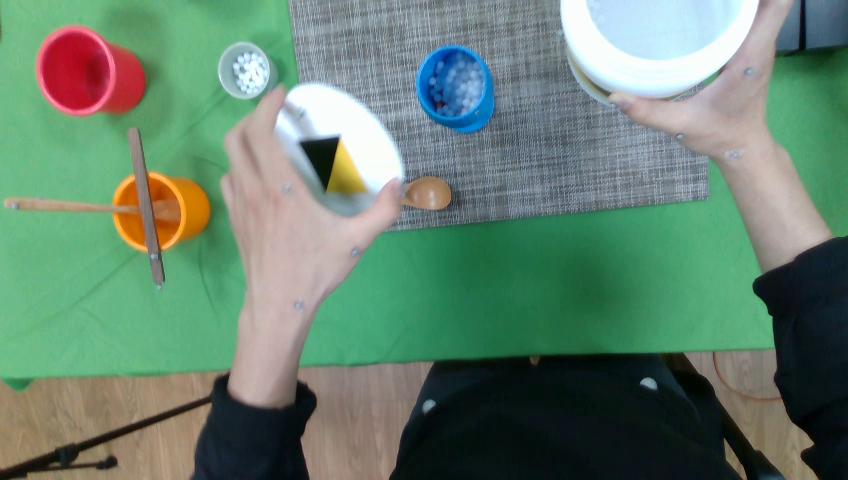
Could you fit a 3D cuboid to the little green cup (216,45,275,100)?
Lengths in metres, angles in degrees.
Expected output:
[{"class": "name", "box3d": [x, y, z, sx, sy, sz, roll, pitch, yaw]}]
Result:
[{"class": "little green cup", "box3d": [-0.206, -0.193, 0.708, 0.061, 0.038, 0.061, 1, 99, 8]}]

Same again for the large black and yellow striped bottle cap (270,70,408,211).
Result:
[{"class": "large black and yellow striped bottle cap", "box3d": [-0.065, -0.070, 0.451, 0.114, 0.018, 0.116, 24, 144, 19]}]

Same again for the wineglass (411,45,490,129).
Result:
[{"class": "wineglass", "box3d": [0.031, -0.148, 0.610, 0.073, 0.172, 0.074, 1, 98, 8]}]

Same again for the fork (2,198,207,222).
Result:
[{"class": "fork", "box3d": [-0.357, -0.036, 0.694, 0.209, 0.018, 0.028, 1, 107, -36]}]

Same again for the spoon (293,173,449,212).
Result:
[{"class": "spoon", "box3d": [-0.066, -0.050, 0.714, 0.193, 0.021, 0.042, -7, 117, 9]}]

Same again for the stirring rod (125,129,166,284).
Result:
[{"class": "stirring rod", "box3d": [-0.316, -0.037, 0.685, 0.014, 0.006, 0.176, -7, 98, 9]}]

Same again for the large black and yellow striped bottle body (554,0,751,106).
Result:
[{"class": "large black and yellow striped bottle body", "box3d": [0.167, -0.175, 0.461, 0.130, 0.184, 0.131, 2, 98, 14]}]
